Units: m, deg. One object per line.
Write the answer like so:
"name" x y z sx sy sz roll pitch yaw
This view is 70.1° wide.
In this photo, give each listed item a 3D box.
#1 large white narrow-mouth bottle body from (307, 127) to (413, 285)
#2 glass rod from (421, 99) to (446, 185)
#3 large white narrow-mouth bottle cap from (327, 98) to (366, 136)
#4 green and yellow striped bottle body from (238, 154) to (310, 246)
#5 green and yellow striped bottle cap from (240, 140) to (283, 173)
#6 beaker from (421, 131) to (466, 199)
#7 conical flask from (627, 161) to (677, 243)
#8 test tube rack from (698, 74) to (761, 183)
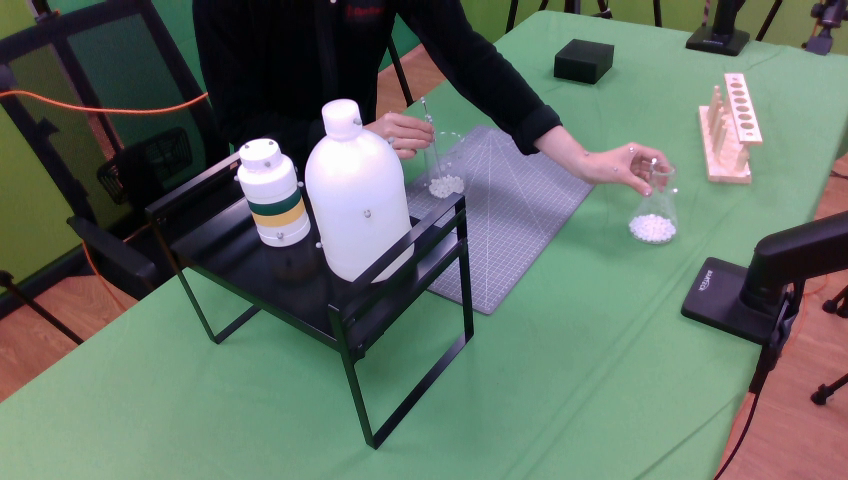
"large white narrow-mouth bottle body" -0.069 -0.051 0.638 0.102 0.195 0.101 -3 40 3
"glass rod" 0.018 -0.158 1.009 0.008 0.201 0.008 -7 54 9
"large white narrow-mouth bottle cap" -0.075 -0.118 0.581 0.038 0.024 0.037 -3 40 3
"green and yellow striped bottle body" -0.178 -0.056 0.714 0.063 0.120 0.063 -4 40 4
"green and yellow striped bottle cap" -0.183 -0.094 0.679 0.045 0.020 0.045 -5 38 4
"beaker" 0.040 -0.130 1.060 0.084 0.100 0.073 -24 44 -20
"conical flask" 0.355 -0.061 0.921 0.075 0.122 0.075 -4 41 4
"test tube rack" 0.547 -0.208 1.095 0.066 0.085 0.242 5 42 15
